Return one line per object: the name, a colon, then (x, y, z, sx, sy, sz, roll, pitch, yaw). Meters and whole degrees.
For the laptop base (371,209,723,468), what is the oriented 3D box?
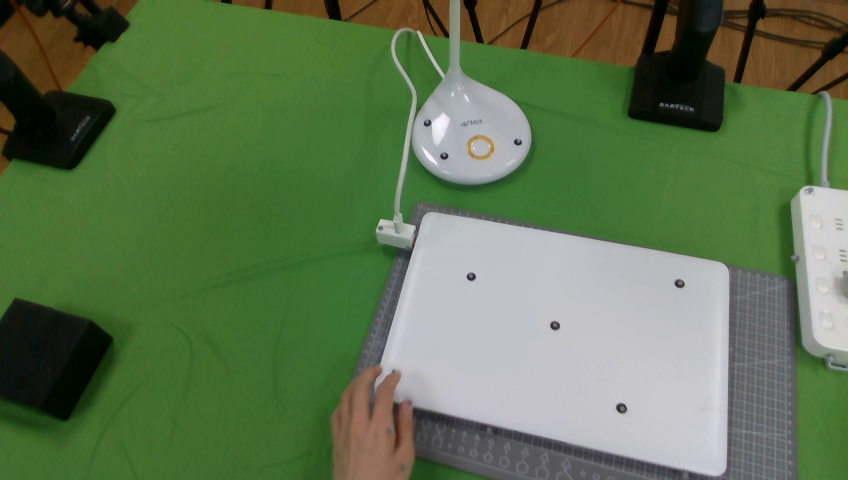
laptop base: (0.139, 0.094, 0.665, 0.353, 0.023, 0.234, 10, 64, 9)

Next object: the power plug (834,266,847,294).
power plug: (0.473, 0.049, 0.637, 0.072, 0.053, 0.035, 20, 61, 13)

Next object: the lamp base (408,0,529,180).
lamp base: (0.049, -0.195, 0.748, 0.161, 0.182, 0.177, -22, 57, -10)

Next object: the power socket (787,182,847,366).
power socket: (0.453, 0.029, 0.677, 0.072, 0.033, 0.225, 11, 60, 8)

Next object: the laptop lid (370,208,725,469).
laptop lid: (0.138, 0.090, 0.654, 0.356, 0.013, 0.240, 12, 63, 10)

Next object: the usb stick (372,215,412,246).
usb stick: (-0.031, -0.010, 0.722, 0.059, 0.027, 0.021, 15, 56, 8)
